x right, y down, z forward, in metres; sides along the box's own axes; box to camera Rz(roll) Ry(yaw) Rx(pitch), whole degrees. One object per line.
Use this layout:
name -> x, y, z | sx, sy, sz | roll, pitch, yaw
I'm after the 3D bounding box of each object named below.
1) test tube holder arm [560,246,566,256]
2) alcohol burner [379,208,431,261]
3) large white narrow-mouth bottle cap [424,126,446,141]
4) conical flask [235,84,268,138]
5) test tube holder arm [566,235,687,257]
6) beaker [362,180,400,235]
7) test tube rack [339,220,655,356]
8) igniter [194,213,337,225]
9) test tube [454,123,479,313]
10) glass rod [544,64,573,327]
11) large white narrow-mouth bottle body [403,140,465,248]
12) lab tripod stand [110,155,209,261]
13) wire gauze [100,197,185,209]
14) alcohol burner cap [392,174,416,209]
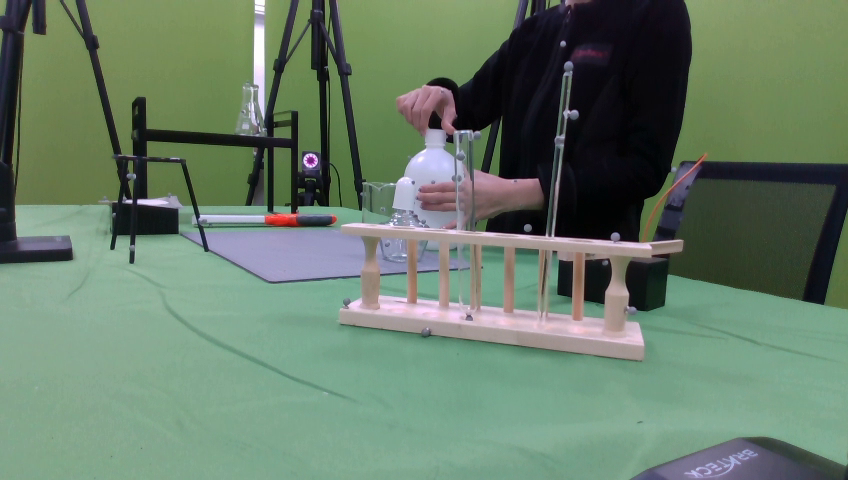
test tube holder arm -> 0.173, 0.007, 0.612 | 0.088, 0.015, 0.010 | -3, 9, -30
alcohol burner -> -0.027, -0.031, 0.838 | 0.078, 0.119, 0.078 | 0, 6, 0
large white narrow-mouth bottle cap -> 0.018, -0.174, 0.989 | 0.038, 0.024, 0.037 | 2, 8, 0
conical flask -> -0.402, -0.299, 1.406 | 0.075, 0.122, 0.075 | 2, 7, 0
test tube holder arm -> 0.215, 0.006, 0.630 | 0.179, 0.015, 0.013 | -3, 9, -31
beaker -> -0.080, -0.062, 1.142 | 0.074, 0.100, 0.084 | 2, 8, 1
test tube rack -> 0.056, 0.032, 0.495 | 0.242, 0.085, 0.067 | 4, 7, 15
igniter -> -0.306, -0.042, 1.196 | 0.278, 0.025, 0.057 | -2, -2, -31
test tube -> 0.034, -0.016, 0.476 | 0.017, 0.150, 0.017 | -2, 9, 1
glass rod -> 0.101, -0.028, 0.453 | 0.008, 0.199, 0.008 | 1, 14, 0
large white narrow-mouth bottle body -> 0.017, -0.088, 1.000 | 0.102, 0.194, 0.102 | 2, 8, 0
lab tripod stand -> -0.361, -0.046, 0.806 | 0.148, 0.131, 0.148 | 2, 5, 0
wire gauze -> -0.469, -0.062, 1.008 | 0.126, 0.011, 0.121 | -2, 8, -25
alcohol burner cap -> -0.025, -0.067, 0.834 | 0.034, 0.048, 0.034 | 8, 7, -1
